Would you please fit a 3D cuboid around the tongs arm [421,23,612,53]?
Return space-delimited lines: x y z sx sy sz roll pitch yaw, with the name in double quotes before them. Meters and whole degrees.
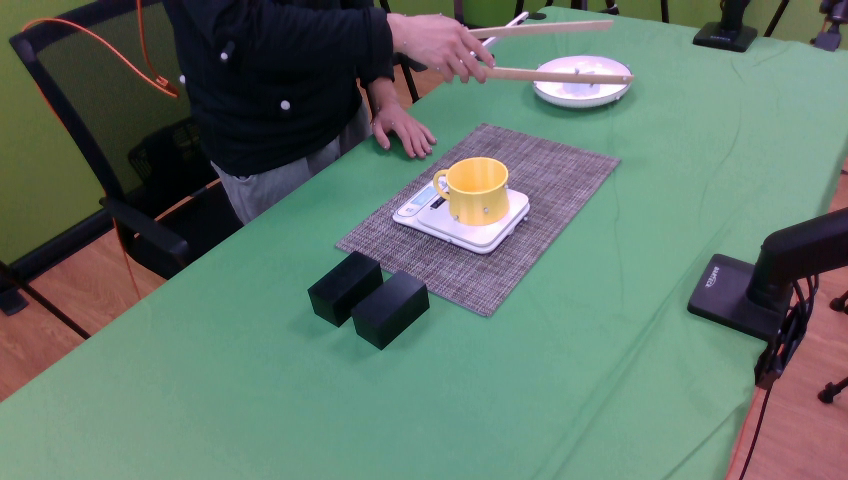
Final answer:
"tongs arm" 0.172 -0.363 1.075 0.390 0.027 0.028 -12 75 -20

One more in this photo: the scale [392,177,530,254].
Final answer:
"scale" 0.060 -0.050 1.006 0.199 0.032 0.149 22 48 30

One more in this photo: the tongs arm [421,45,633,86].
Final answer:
"tongs arm" 0.185 -0.301 1.050 0.387 0.026 0.050 -2 69 -17

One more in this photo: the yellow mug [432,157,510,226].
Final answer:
"yellow mug" 0.072 -0.082 0.968 0.130 0.064 0.100 13 45 24

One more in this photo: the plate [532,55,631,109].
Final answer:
"plate" 0.336 -0.336 1.301 0.207 0.039 0.206 -4 41 4
